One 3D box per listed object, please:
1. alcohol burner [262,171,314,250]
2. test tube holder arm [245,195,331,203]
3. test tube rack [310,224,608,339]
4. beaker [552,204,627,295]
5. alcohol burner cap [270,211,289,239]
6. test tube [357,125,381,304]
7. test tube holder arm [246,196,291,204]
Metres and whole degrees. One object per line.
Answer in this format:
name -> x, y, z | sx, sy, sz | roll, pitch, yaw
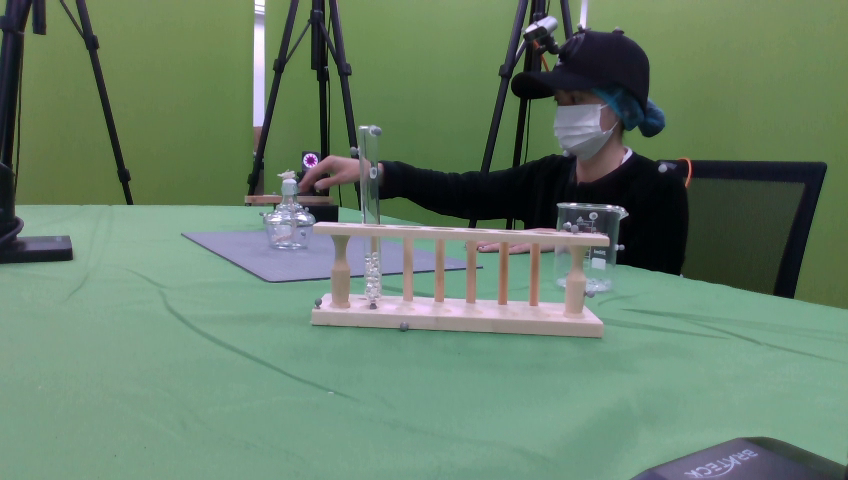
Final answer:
alcohol burner -> -0.205, -0.045, 0.913 | 0.078, 0.119, 0.078 | 1, 9, 0
test tube holder arm -> -0.266, -0.080, 1.199 | 0.179, 0.015, 0.013 | -3, 19, -37
test tube rack -> 0.028, 0.032, 0.528 | 0.242, 0.085, 0.067 | 3, 7, 0
beaker -> 0.191, 0.010, 0.708 | 0.083, 0.100, 0.074 | 8, 9, 33
alcohol burner cap -> -0.246, -0.026, 1.035 | 0.034, 0.048, 0.034 | 2, 8, 0
test tube -> -0.045, -0.019, 0.501 | 0.017, 0.150, 0.017 | -1, 12, 0
test tube holder arm -> -0.300, -0.077, 1.168 | 0.088, 0.015, 0.010 | -3, 19, -36
